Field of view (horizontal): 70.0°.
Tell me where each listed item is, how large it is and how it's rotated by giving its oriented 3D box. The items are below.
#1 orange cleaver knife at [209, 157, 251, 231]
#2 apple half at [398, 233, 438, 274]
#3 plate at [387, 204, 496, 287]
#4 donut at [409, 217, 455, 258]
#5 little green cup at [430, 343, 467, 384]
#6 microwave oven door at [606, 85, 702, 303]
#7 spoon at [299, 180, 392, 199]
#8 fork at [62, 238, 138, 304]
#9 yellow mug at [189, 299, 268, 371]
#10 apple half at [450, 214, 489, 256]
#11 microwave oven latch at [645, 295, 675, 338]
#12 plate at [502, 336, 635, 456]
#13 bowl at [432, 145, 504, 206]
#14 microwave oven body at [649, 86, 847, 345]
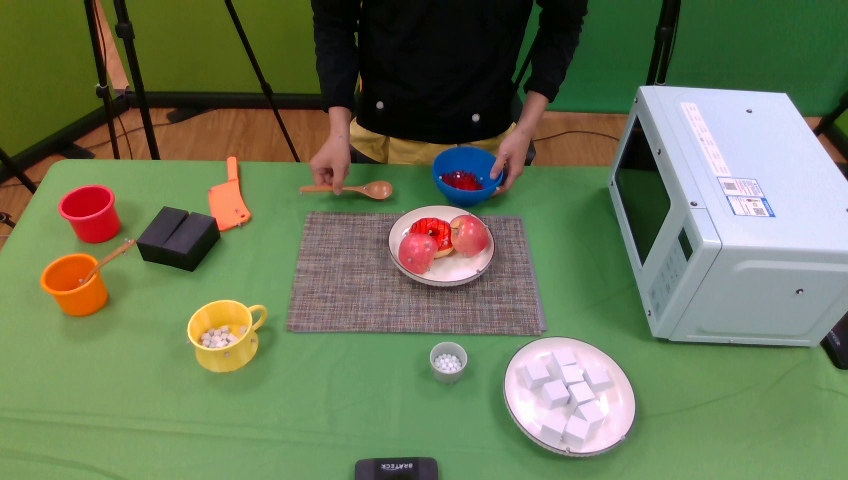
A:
[{"bbox_3d":[-0.409,-0.099,1.266,0.077,0.012,0.210,-14,50,-10],"label":"orange cleaver knife"},{"bbox_3d":[-0.016,0.022,1.123,0.081,0.033,0.081,-2,83,14],"label":"apple half"},{"bbox_3d":[0.033,0.014,1.171,0.209,0.038,0.208,2,46,-2],"label":"plate"},{"bbox_3d":[0.019,-0.006,1.174,0.099,0.048,0.098,2,44,-2],"label":"donut"},{"bbox_3d":[0.039,0.203,0.993,0.061,0.039,0.061,2,46,-2],"label":"little green cup"},{"bbox_3d":[0.423,-0.094,1.141,0.039,0.245,0.353,2,46,-1],"label":"microwave oven door"},{"bbox_3d":[-0.160,-0.106,1.247,0.194,0.021,0.041,0,76,-23],"label":"spoon"},{"bbox_3d":[-0.547,0.053,1.018,0.207,0.019,0.028,-36,41,23],"label":"fork"},{"bbox_3d":[-0.316,0.148,1.002,0.131,0.064,0.099,-33,56,-31],"label":"yellow mug"},{"bbox_3d":[0.092,-0.013,1.158,0.075,0.053,0.080,35,39,-28],"label":"apple half"},{"bbox_3d":[0.412,0.134,1.061,0.030,0.029,0.078,3,45,0],"label":"microwave oven latch"},{"bbox_3d":[0.225,0.248,0.964,0.208,0.039,0.206,2,46,-2],"label":"plate"},{"bbox_3d":[0.091,-0.124,1.286,0.151,0.077,0.150,2,46,-2],"label":"bowl"},{"bbox_3d":[0.568,-0.053,1.118,0.326,0.261,0.439,2,45,-1],"label":"microwave oven body"}]
